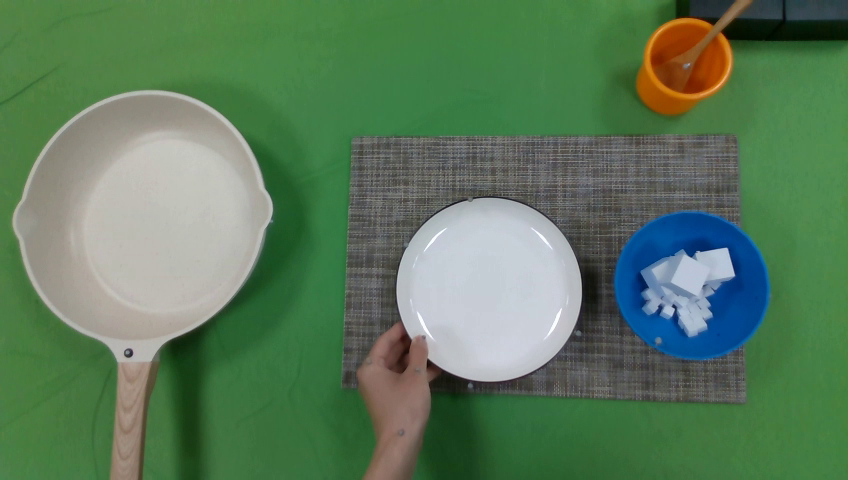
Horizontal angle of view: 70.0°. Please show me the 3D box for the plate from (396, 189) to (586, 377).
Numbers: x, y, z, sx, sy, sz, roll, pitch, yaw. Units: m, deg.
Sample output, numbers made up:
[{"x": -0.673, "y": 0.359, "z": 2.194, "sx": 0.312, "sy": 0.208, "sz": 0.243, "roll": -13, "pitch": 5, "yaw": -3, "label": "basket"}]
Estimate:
[{"x": 0.074, "y": 0.047, "z": 0.682, "sx": 0.207, "sy": 0.039, "sz": 0.207, "roll": -1, "pitch": 84, "yaw": 6, "label": "plate"}]

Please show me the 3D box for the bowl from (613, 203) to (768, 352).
[{"x": 0.271, "y": 0.042, "z": 0.644, "sx": 0.151, "sy": 0.077, "sz": 0.151, "roll": -1, "pitch": 83, "yaw": 5, "label": "bowl"}]

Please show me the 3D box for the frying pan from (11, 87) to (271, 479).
[{"x": -0.318, "y": 0.071, "z": 0.685, "sx": 0.306, "sy": 0.103, "sz": 0.485, "roll": -2, "pitch": 75, "yaw": 6, "label": "frying pan"}]

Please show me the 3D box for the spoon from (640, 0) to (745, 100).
[{"x": 0.304, "y": -0.225, "z": 0.640, "sx": 0.021, "sy": 0.194, "sz": 0.041, "roll": -28, "pitch": 73, "yaw": -43, "label": "spoon"}]
